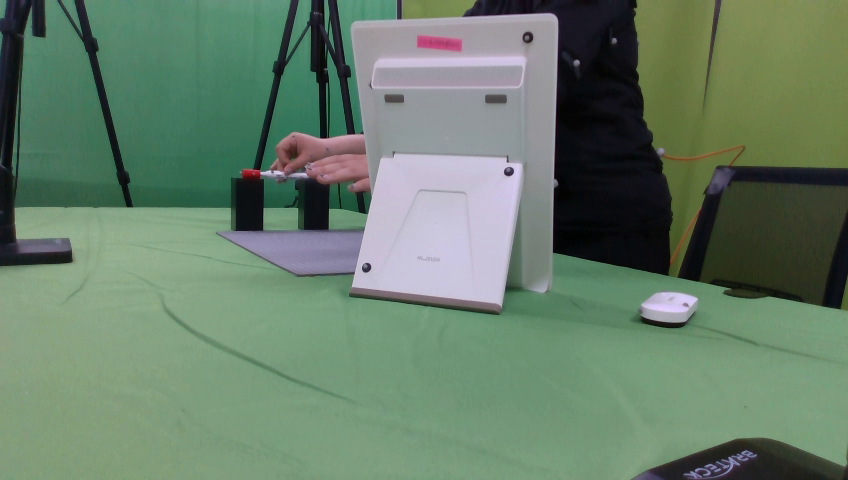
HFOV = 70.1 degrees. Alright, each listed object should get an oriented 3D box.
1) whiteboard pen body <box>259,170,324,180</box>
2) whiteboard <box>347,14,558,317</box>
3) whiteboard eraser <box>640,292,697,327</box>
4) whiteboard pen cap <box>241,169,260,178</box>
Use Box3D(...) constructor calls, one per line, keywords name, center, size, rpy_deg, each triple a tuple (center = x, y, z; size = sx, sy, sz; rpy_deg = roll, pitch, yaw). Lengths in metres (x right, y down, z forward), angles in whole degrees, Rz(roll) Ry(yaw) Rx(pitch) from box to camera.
Box3D(name="whiteboard pen body", center=(-0.262, -0.127, 1.183), size=(0.141, 0.017, 0.017), rpy_deg=(-2, 8, -35))
Box3D(name="whiteboard", center=(0.012, -0.056, 0.609), size=(0.216, 0.305, 0.144), rpy_deg=(5, 27, 20))
Box3D(name="whiteboard eraser", center=(0.240, 0.066, 0.590), size=(0.041, 0.019, 0.102), rpy_deg=(7, 7, 31))
Box3D(name="whiteboard pen cap", center=(-0.327, -0.126, 1.140), size=(0.032, 0.017, 0.017), rpy_deg=(0, 7, -26))
